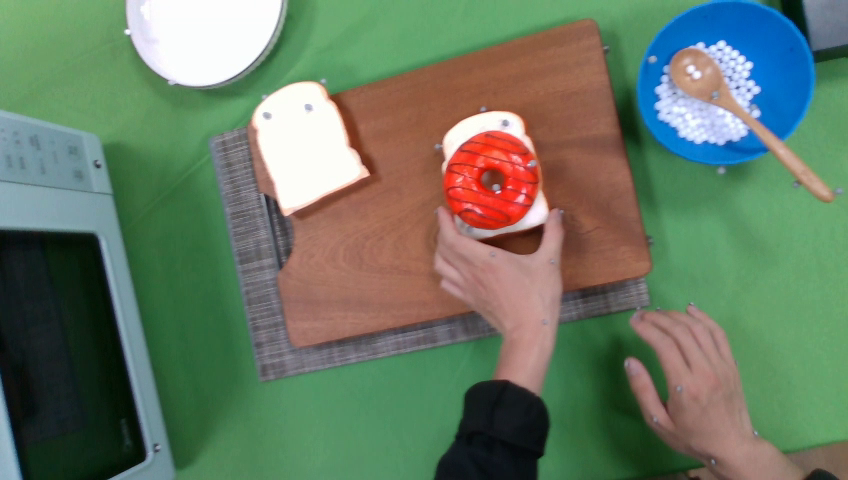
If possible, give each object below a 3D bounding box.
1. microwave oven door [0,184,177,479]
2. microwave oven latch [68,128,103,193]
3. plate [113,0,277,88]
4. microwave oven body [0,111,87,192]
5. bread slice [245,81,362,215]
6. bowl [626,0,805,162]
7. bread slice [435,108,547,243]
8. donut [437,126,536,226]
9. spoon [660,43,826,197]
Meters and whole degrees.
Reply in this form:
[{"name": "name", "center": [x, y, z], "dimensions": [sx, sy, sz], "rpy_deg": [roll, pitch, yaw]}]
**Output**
[{"name": "microwave oven door", "center": [-0.381, 0.117, 0.621], "dimensions": [0.039, 0.244, 0.355], "rpy_deg": [-16, 87, 12]}, {"name": "microwave oven latch", "center": [-0.415, -0.093, 0.731], "dimensions": [0.030, 0.029, 0.079], "rpy_deg": [-15, 88, 11]}, {"name": "plate", "center": [-0.266, -0.281, 0.717], "dimensions": [0.207, 0.039, 0.207], "rpy_deg": [0, 90, 12]}, {"name": "microwave oven body", "center": [-0.529, 0.116, 0.657], "dimensions": [0.326, 0.261, 0.441], "rpy_deg": [-16, 87, 11]}, {"name": "bread slice", "center": [-0.141, -0.106, 0.671], "dimensions": [0.107, 0.018, 0.134], "rpy_deg": [-28, 84, 10]}, {"name": "bowl", "center": [0.270, -0.145, 0.585], "dimensions": [0.151, 0.077, 0.151], "rpy_deg": [0, 90, 12]}, {"name": "bread slice", "center": [0.062, -0.070, 0.630], "dimensions": [0.105, 0.019, 0.131], "rpy_deg": [-14, 89, 10]}, {"name": "donut", "center": [0.061, -0.063, 0.600], "dimensions": [0.099, 0.048, 0.099], "rpy_deg": [0, 91, 11]}, {"name": "spoon", "center": [0.286, -0.110, 0.550], "dimensions": [0.041, 0.022, 0.192], "rpy_deg": [-40, 64, 14]}]
